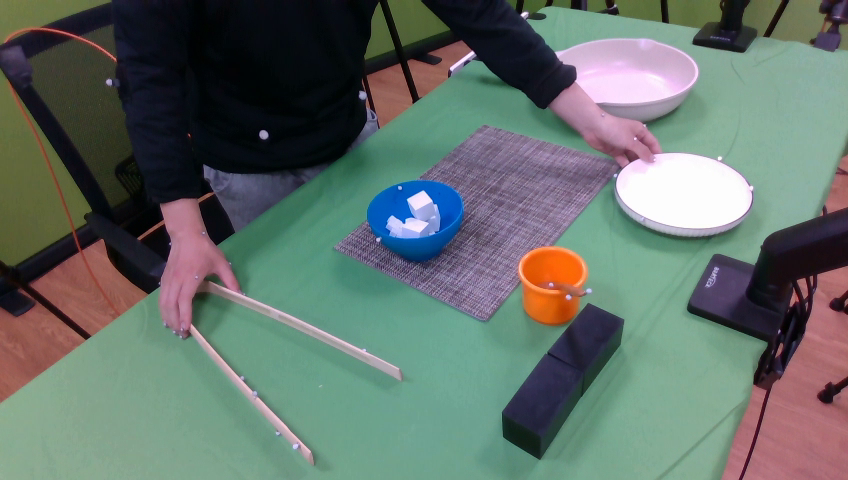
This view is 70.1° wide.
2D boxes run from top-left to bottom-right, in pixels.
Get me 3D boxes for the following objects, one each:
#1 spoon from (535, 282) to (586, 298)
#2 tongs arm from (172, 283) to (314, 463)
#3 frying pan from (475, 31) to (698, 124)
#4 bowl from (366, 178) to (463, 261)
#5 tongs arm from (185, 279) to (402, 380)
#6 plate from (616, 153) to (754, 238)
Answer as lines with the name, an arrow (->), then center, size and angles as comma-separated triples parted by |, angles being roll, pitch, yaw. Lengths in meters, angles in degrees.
spoon -> 0.176, 0.063, 0.774 | 0.041, 0.194, 0.021 | -3, 85, 0
tongs arm -> -0.246, 0.161, 0.806 | 0.381, 0.026, 0.051 | 29, 51, 36
frying pan -> 0.320, -0.371, 1.290 | 0.485, 0.103, 0.307 | 28, 50, 23
bowl -> -0.011, -0.021, 0.945 | 0.151, 0.077, 0.150 | -4, 41, 4
tongs arm -> -0.194, 0.120, 0.852 | 0.385, 0.028, 0.028 | 18, 49, 27
plate -> 0.416, -0.069, 0.977 | 0.207, 0.039, 0.206 | -4, 40, 4
